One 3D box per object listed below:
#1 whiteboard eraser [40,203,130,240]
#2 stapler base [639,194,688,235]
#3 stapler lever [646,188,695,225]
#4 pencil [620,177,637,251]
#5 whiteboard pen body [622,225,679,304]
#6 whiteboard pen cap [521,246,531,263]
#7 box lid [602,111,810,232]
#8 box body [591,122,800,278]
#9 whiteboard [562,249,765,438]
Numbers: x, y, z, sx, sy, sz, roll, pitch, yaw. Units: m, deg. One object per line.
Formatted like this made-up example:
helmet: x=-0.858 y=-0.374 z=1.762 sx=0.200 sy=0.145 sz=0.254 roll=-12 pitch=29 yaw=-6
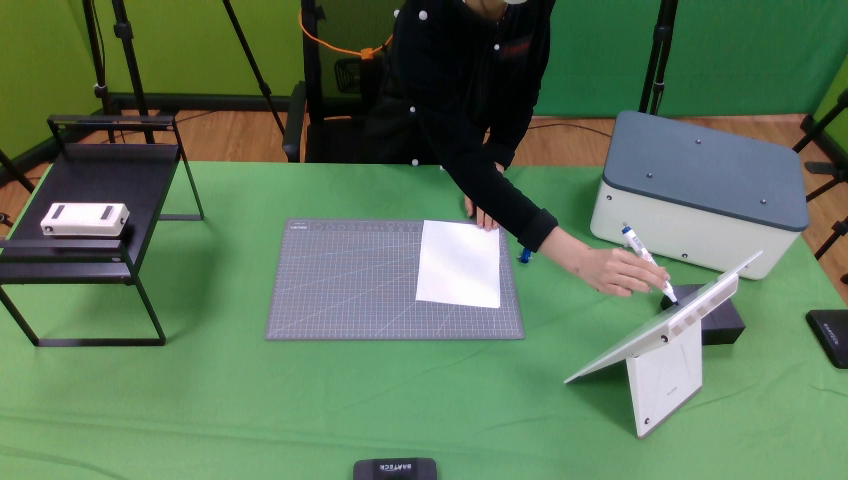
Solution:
whiteboard eraser: x=-0.513 y=-0.028 z=0.922 sx=0.113 sy=0.042 sz=0.055 roll=1 pitch=48 yaw=-3
stapler base: x=0.510 y=-0.059 z=1.278 sx=0.041 sy=0.024 sz=0.129 roll=0 pitch=39 yaw=-30
stapler lever: x=0.515 y=-0.078 z=1.265 sx=0.027 sy=0.040 sz=0.117 roll=0 pitch=41 yaw=-30
pencil: x=0.431 y=-0.060 z=1.284 sx=0.012 sy=0.012 sz=0.193 roll=3 pitch=57 yaw=-2
whiteboard pen body: x=0.342 y=0.038 z=0.911 sx=0.017 sy=0.017 sz=0.140 roll=-34 pitch=89 yaw=-31
whiteboard pen cap: x=0.200 y=0.029 z=1.188 sx=0.018 sy=0.018 sz=0.033 roll=14 pitch=47 yaw=9
box lid: x=0.545 y=-0.143 z=1.176 sx=0.371 sy=0.015 sz=0.262 roll=15 pitch=47 yaw=11
box body: x=0.540 y=-0.092 z=1.229 sx=0.363 sy=0.161 sz=0.253 roll=16 pitch=47 yaw=11
whiteboard: x=0.386 y=0.175 z=0.905 sx=0.217 sy=0.306 sz=0.143 roll=-26 pitch=72 yaw=-26
